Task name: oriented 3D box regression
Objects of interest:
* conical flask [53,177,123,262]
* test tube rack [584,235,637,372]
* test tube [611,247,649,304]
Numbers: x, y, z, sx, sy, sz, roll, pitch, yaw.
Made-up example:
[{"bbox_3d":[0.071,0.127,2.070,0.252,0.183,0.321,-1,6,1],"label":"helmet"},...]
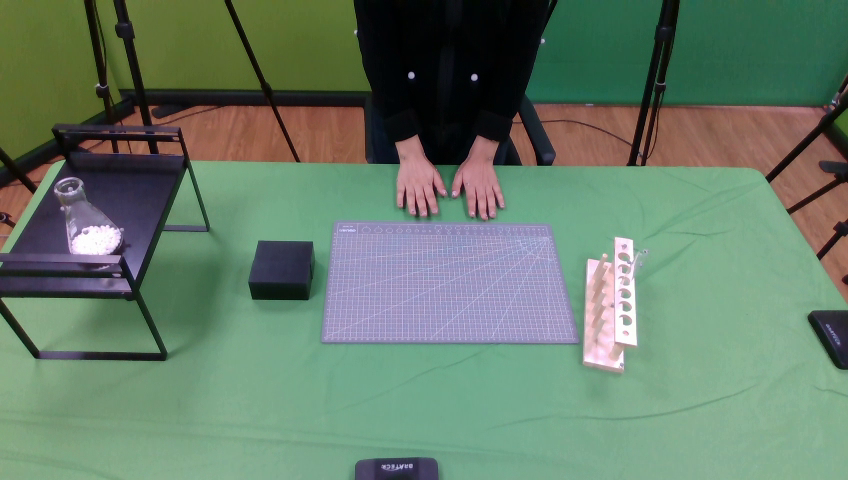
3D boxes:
[{"bbox_3d":[-0.490,-0.033,0.872,0.075,0.122,0.075,1,46,-1],"label":"conical flask"},{"bbox_3d":[0.329,0.103,1.073,0.067,0.085,0.241,11,47,7],"label":"test tube rack"},{"bbox_3d":[0.352,0.065,1.043,0.017,0.151,0.017,4,49,-4],"label":"test tube"}]
